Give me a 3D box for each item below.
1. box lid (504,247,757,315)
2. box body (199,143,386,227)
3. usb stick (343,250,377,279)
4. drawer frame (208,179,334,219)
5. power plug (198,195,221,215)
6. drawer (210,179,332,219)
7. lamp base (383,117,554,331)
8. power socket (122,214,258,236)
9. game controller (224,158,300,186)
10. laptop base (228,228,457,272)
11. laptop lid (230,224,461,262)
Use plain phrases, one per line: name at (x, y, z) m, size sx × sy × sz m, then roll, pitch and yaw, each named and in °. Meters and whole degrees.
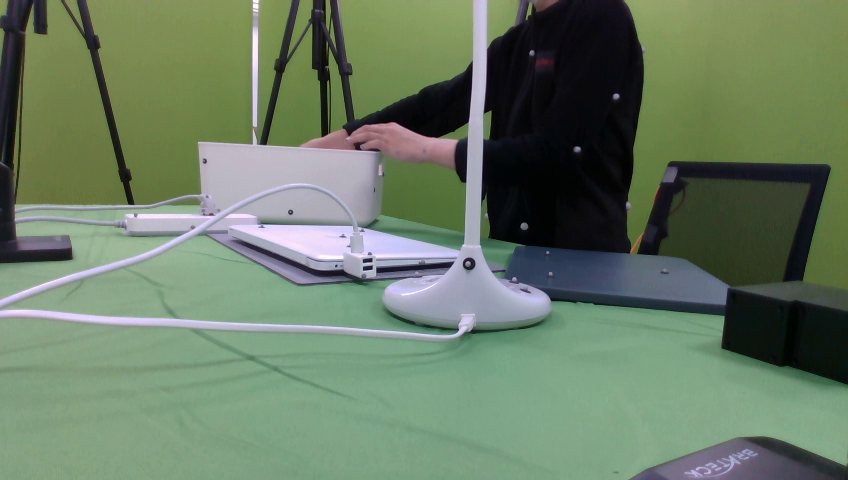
box lid at (0.244, 0.044, 0.793) m, size 0.263 × 0.015 × 0.372 m, roll 4°, pitch 7°, yaw 10°
box body at (-0.276, -0.124, 1.334) m, size 0.364 × 0.160 × 0.254 m, roll 3°, pitch 7°, yaw 1°
usb stick at (-0.076, 0.026, 0.687) m, size 0.021 × 0.027 × 0.059 m, roll -8°, pitch 8°, yaw -31°
drawer frame at (-0.326, -0.092, 1.328) m, size 0.213 × 0.082 × 0.202 m, roll -1°, pitch 5°, yaw 6°
power plug at (-0.387, -0.055, 1.089) m, size 0.035 × 0.052 × 0.072 m, roll -1°, pitch 6°, yaw -22°
drawer at (-0.329, -0.096, 1.333) m, size 0.212 × 0.073 × 0.194 m, roll 5°, pitch 8°, yaw 6°
lamp base at (0.045, -0.019, 0.547) m, size 0.161 × 0.180 × 0.179 m, roll 2°, pitch 10°, yaw -4°
power socket at (-0.398, -0.028, 1.049) m, size 0.228 × 0.032 × 0.072 m, roll -3°, pitch 8°, yaw -34°
game controller at (-0.358, -0.152, 1.325) m, size 0.156 × 0.051 × 0.096 m, roll -11°, pitch 8°, yaw -30°
laptop base at (-0.122, 0.011, 0.889) m, size 0.237 × 0.023 × 0.352 m, roll 2°, pitch 6°, yaw -35°
laptop lid at (-0.120, 0.000, 0.889) m, size 0.243 × 0.013 × 0.355 m, roll 1°, pitch 7°, yaw -33°
